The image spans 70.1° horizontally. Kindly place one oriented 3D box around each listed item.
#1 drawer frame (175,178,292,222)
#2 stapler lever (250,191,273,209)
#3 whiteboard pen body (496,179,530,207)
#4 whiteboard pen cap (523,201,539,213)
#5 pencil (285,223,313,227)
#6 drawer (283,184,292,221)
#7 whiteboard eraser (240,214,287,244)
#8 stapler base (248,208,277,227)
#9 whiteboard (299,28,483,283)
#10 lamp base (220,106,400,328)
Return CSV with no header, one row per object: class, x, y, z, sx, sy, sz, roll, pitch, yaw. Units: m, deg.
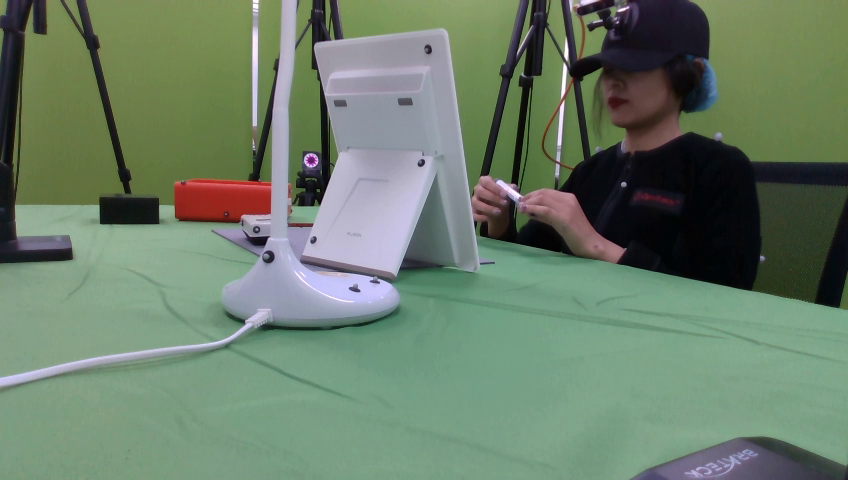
drawer frame,-0.402,-0.087,1.311,0.214,0.082,0.201,1,8,-9
stapler lever,-0.351,-0.086,1.305,0.027,0.040,0.118,1,5,-3
whiteboard pen body,0.161,-0.079,1.065,0.017,0.017,0.140,0,24,-20
whiteboard pen cap,0.180,-0.057,1.015,0.018,0.018,0.033,0,14,-15
pencil,-0.234,-0.030,1.198,0.195,0.012,0.012,0,8,-20
drawer,-0.397,-0.086,1.314,0.212,0.073,0.194,1,8,-9
whiteboard eraser,-0.256,-0.018,0.958,0.056,0.042,0.112,0,8,-25
stapler base,-0.350,-0.053,1.310,0.041,0.024,0.130,1,13,-3
whiteboard,-0.075,-0.082,0.741,0.216,0.305,0.144,9,30,38
lamp base,-0.101,-0.023,0.531,0.160,0.180,0.179,4,10,10
